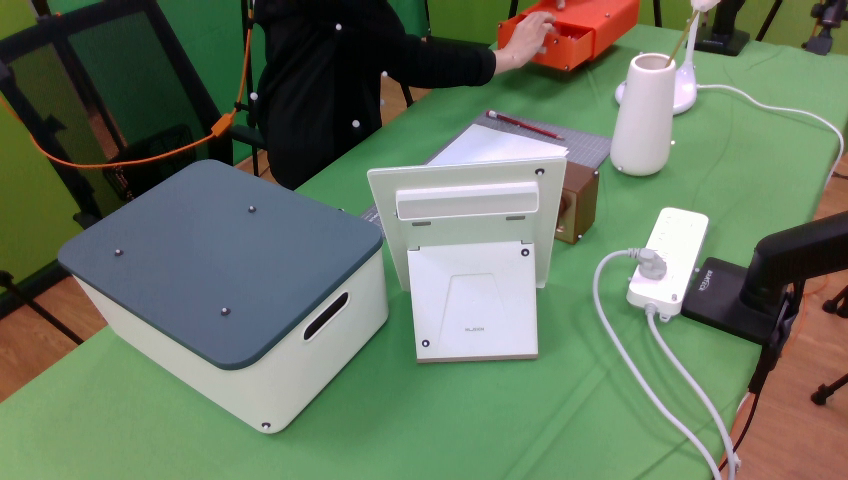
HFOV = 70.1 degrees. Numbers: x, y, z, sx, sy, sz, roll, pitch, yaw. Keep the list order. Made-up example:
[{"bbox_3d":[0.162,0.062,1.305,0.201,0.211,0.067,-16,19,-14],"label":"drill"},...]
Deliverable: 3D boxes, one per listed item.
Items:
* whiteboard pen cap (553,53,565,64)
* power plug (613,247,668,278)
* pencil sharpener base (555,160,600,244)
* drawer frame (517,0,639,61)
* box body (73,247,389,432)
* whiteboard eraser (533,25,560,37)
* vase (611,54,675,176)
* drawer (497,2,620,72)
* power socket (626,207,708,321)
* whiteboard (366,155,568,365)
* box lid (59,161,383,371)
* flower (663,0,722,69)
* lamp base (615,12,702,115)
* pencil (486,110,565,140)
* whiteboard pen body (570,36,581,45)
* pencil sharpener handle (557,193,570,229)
[{"bbox_3d":[0.292,-0.394,1.309,0.018,0.018,0.033,18,38,26],"label":"whiteboard pen cap"},{"bbox_3d":[0.306,0.032,0.851,0.072,0.053,0.035,24,49,34],"label":"power plug"},{"bbox_3d":[0.228,-0.057,0.945,0.061,0.107,0.077,24,50,31],"label":"pencil sharpener base"},{"bbox_3d":[0.357,-0.511,1.411,0.200,0.083,0.214,25,50,33],"label":"drawer frame"},{"bbox_3d":[-0.255,0.065,0.827,0.361,0.161,0.255,21,48,29],"label":"box body"},{"bbox_3d":[0.258,-0.456,1.379,0.055,0.042,0.113,27,45,33],"label":"whiteboard eraser"},{"bbox_3d":[0.377,-0.209,1.031,0.098,0.201,0.097,-4,40,3],"label":"vase"},{"bbox_3d":[0.303,-0.467,1.365,0.193,0.073,0.212,27,48,34],"label":"drawer"},{"bbox_3d":[0.359,0.025,0.886,0.072,0.033,0.227,16,46,26],"label":"power socket"},{"bbox_3d":[0.059,0.049,0.738,0.217,0.307,0.143,-3,60,5],"label":"whiteboard"},{"bbox_3d":[-0.262,0.010,0.777,0.369,0.015,0.264,21,48,29],"label":"box lid"},{"bbox_3d":[0.379,-0.261,0.965,0.044,0.362,0.038,20,53,5],"label":"flower"},{"bbox_3d":[0.484,-0.364,1.211,0.180,0.181,0.159,-15,41,-14],"label":"lamp base"},{"bbox_3d":[0.204,-0.233,1.226,0.192,0.012,0.012,29,52,32],"label":"pencil"},{"bbox_3d":[0.320,-0.429,1.350,0.017,0.017,0.141,19,42,27],"label":"whiteboard pen body"},{"bbox_3d":[0.195,-0.038,0.908,0.035,0.068,0.031,24,50,30],"label":"pencil sharpener handle"}]
